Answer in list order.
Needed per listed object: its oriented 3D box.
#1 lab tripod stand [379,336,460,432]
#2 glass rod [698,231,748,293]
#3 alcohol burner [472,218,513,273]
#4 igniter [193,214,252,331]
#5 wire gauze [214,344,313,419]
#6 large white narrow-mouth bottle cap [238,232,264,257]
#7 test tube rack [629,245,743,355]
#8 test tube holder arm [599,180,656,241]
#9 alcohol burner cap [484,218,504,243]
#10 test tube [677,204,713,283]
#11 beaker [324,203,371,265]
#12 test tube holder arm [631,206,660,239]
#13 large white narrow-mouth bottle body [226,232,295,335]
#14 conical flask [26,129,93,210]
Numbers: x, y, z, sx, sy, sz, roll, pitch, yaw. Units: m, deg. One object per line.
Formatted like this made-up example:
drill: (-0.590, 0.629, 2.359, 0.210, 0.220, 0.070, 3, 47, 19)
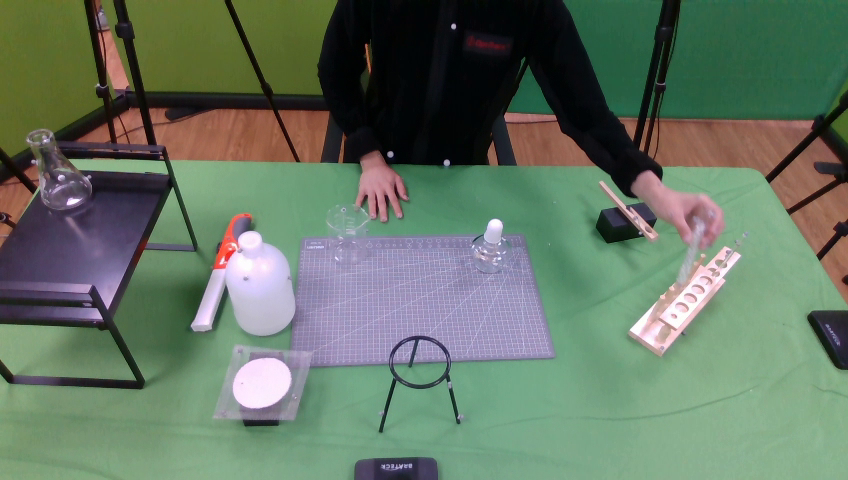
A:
lab tripod stand: (-0.010, 0.214, 0.911, 0.148, 0.132, 0.147, 1, 45, -1)
glass rod: (0.514, 0.044, 1.051, 0.008, 0.200, 0.008, 1, 55, -1)
alcohol burner: (0.128, 0.005, 1.132, 0.078, 0.120, 0.077, 0, 47, 0)
igniter: (-0.368, 0.050, 1.119, 0.057, 0.025, 0.275, -3, 46, 7)
wire gauze: (-0.241, 0.213, 0.915, 0.121, 0.011, 0.124, 5, 46, 1)
large white narrow-mouth bottle cap: (-0.266, 0.006, 0.932, 0.038, 0.024, 0.037, 2, 46, -2)
test tube rack: (0.474, 0.095, 1.091, 0.242, 0.085, 0.066, -34, 57, -31)
test tube holder arm: (0.408, -0.062, 1.219, 0.013, 0.015, 0.177, -23, 51, -12)
alcohol burner cap: (0.130, -0.021, 1.106, 0.034, 0.048, 0.033, 3, 51, -3)
test tube: (0.416, 0.008, 0.934, 0.017, 0.151, 0.017, 0, 39, 0)
beaker: (-0.142, -0.009, 1.137, 0.084, 0.101, 0.073, -2, 47, -7)
test tube holder arm: (0.432, -0.034, 1.192, 0.010, 0.015, 0.087, -23, 51, -12)
large white narrow-mouth bottle body: (-0.270, 0.065, 0.995, 0.102, 0.195, 0.101, 2, 46, -2)
conical flask: (-0.575, -0.113, 0.946, 0.075, 0.122, 0.075, 2, 46, -2)
